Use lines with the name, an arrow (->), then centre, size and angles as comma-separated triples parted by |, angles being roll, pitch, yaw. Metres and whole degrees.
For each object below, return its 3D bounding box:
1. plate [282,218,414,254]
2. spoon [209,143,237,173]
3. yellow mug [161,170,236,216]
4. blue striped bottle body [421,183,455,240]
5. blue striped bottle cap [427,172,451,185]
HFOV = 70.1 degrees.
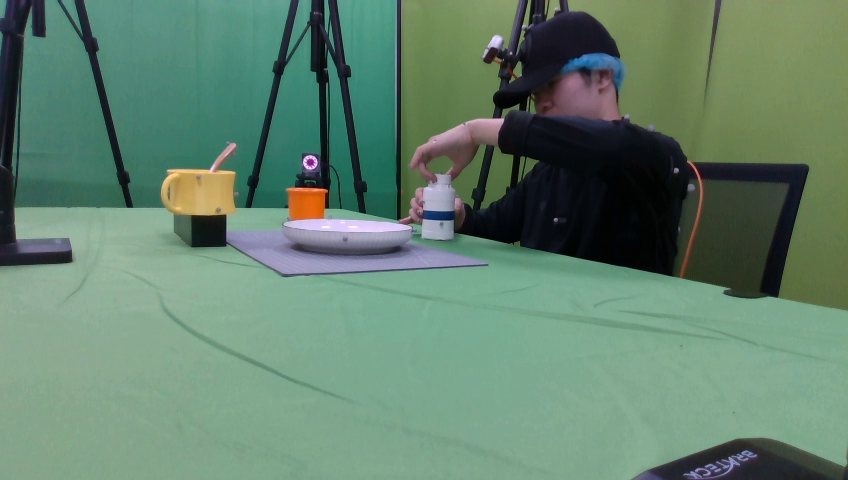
plate -> -0.121, -0.007, 0.971 | 0.208, 0.039, 0.207 | 2, 7, 0
spoon -> -0.341, -0.113, 0.990 | 0.041, 0.021, 0.193 | 1, 39, 7
yellow mug -> -0.354, -0.074, 0.935 | 0.099, 0.064, 0.131 | 5, 9, 21
blue striped bottle body -> 0.027, -0.063, 1.157 | 0.063, 0.120, 0.063 | 2, 7, 0
blue striped bottle cap -> 0.029, -0.117, 1.151 | 0.044, 0.020, 0.044 | 5, 12, -1
